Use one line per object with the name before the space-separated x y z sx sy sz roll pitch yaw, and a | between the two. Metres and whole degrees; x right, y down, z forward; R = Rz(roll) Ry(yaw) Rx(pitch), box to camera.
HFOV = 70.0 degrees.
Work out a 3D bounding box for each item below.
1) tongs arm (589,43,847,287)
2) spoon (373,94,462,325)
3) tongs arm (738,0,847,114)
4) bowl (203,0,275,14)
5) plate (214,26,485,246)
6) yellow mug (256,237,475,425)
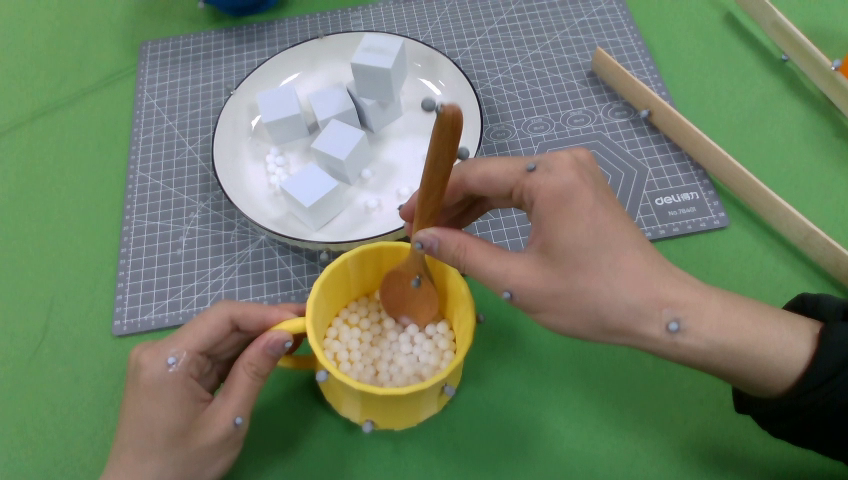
tongs arm | 0.257 -0.026 0.429 0.028 0.028 0.384 -34 65 -17
spoon | -0.002 -0.002 0.324 0.041 0.195 0.021 25 59 6
tongs arm | 0.328 -0.063 0.440 0.051 0.027 0.381 -23 64 -8
bowl | -0.178 -0.270 0.569 0.151 0.077 0.150 -2 61 4
plate | -0.056 -0.082 0.477 0.207 0.039 0.206 -2 61 4
yellow mug | -0.037 0.058 0.374 0.131 0.064 0.099 -6 57 -9
